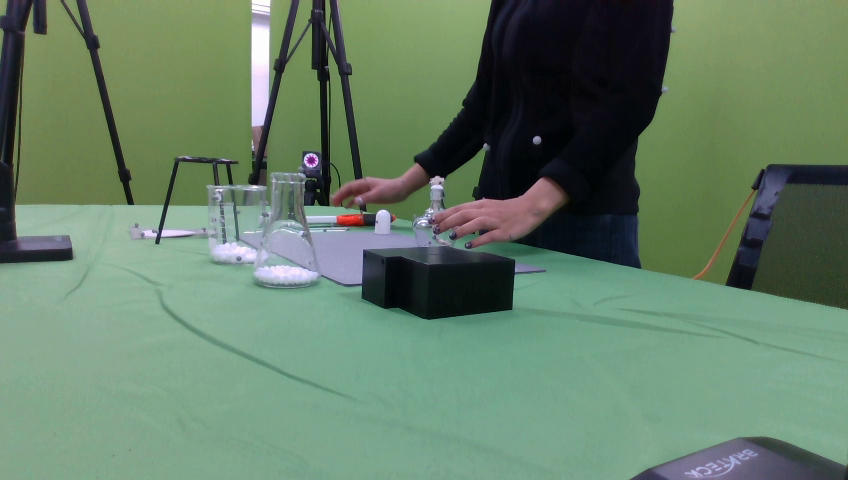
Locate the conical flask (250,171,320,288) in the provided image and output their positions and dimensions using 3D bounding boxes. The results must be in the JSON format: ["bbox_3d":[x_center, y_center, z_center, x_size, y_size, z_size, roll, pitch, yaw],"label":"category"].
[{"bbox_3d":[-0.150,-0.013,0.658,0.075,0.122,0.075,2,7,0],"label":"conical flask"}]

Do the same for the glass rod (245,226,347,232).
[{"bbox_3d":[-0.237,-0.021,1.140,0.201,0.008,0.008,-2,8,-33],"label":"glass rod"}]

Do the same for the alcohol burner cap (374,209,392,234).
[{"bbox_3d":[-0.078,-0.036,1.148,0.034,0.048,0.034,2,7,0],"label":"alcohol burner cap"}]

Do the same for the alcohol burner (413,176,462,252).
[{"bbox_3d":[0.021,-0.041,0.948,0.078,0.119,0.078,0,7,0],"label":"alcohol burner"}]

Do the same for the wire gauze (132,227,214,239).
[{"bbox_3d":[-0.425,-0.013,1.018,0.122,0.011,0.124,-1,6,-28],"label":"wire gauze"}]

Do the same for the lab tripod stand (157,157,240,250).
[{"bbox_3d":[-0.322,-0.057,0.905,0.148,0.131,0.148,4,7,0],"label":"lab tripod stand"}]

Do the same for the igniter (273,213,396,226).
[{"bbox_3d":[-0.179,-0.043,1.258,0.278,0.025,0.057,-3,1,-38],"label":"igniter"}]

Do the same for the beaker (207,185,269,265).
[{"bbox_3d":[-0.244,-0.021,0.784,0.083,0.100,0.074,6,8,30],"label":"beaker"}]
